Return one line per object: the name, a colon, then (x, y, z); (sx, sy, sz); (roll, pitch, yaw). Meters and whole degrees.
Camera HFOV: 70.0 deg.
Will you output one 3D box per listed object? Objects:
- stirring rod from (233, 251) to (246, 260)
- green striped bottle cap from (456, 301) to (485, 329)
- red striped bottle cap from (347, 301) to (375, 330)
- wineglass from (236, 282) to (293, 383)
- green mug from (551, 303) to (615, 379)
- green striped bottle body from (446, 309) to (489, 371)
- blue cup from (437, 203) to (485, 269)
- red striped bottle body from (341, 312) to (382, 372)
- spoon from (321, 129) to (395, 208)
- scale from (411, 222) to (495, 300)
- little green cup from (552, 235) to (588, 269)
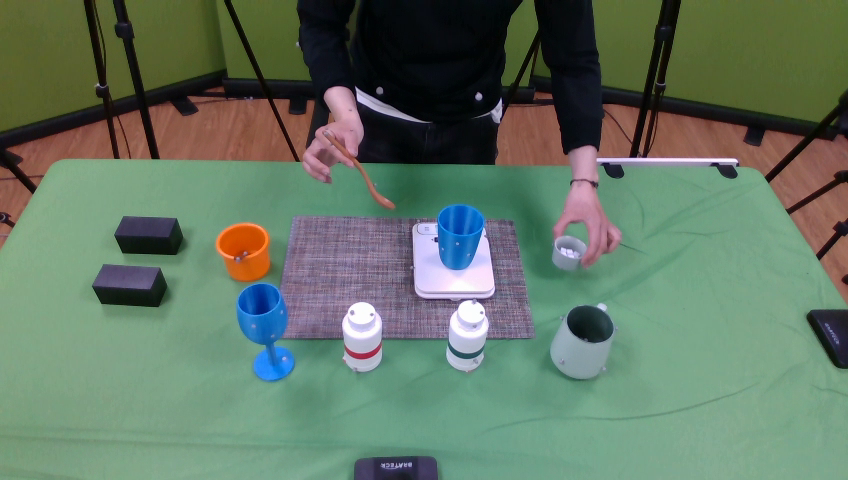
stirring rod: (-0.324, 0.026, 1.067); (0.014, 0.006, 0.176); (-9, 4, -13)
green striped bottle cap: (0.073, 0.116, 0.943); (0.044, 0.020, 0.044); (2, 46, -2)
red striped bottle cap: (-0.097, 0.116, 0.934); (0.044, 0.018, 0.044); (2, 50, -2)
wineglass: (-0.243, 0.143, 0.934); (0.074, 0.173, 0.073); (2, 46, -2)
green mug: (0.271, 0.157, 1.007); (0.092, 0.105, 0.125); (27, 50, 21)
green striped bottle body: (0.070, 0.155, 0.984); (0.063, 0.120, 0.063); (2, 46, -2)
blue cup: (0.062, -0.001, 1.098); (0.093, 0.101, 0.092); (2, 44, -2)
red striped bottle body: (-0.100, 0.154, 0.972); (0.063, 0.120, 0.062); (2, 46, -1)
spoon: (-0.108, -0.118, 1.013); (0.021, 0.195, 0.041); (-36, 37, 3)
scale: (0.052, 0.031, 1.158); (0.149, 0.032, 0.199); (1, 46, -4)
little green cup: (0.267, 0.024, 1.120); (0.061, 0.039, 0.061); (6, 42, -5)
